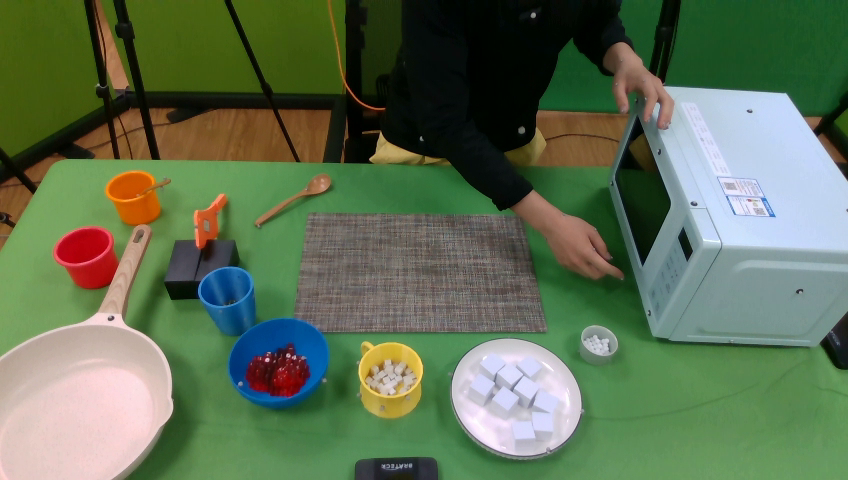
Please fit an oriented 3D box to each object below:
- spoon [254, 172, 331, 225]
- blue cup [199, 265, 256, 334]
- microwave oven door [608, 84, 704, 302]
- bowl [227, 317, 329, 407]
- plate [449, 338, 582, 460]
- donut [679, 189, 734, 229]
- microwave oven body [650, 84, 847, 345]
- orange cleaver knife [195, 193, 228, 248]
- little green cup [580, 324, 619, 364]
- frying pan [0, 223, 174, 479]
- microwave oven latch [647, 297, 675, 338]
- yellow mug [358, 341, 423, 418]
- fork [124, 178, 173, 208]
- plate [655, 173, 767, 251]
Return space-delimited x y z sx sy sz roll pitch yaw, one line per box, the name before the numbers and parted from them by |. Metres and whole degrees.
spoon | -0.272 -0.087 1.257 0.041 0.022 0.193 45 57 13
blue cup | -0.322 0.106 1.014 0.093 0.101 0.092 2 48 -2
microwave oven door | 0.424 -0.096 1.138 0.039 0.245 0.353 2 47 -1
bowl | -0.222 0.203 0.947 0.151 0.077 0.150 2 46 -2
plate | 0.141 0.251 0.955 0.208 0.039 0.206 2 46 -2
donut | 0.546 -0.062 1.175 0.099 0.048 0.098 0 44 1
microwave oven body | 0.568 -0.054 1.116 0.326 0.261 0.439 2 46 -1
orange cleaver knife | -0.406 -0.042 1.163 0.012 0.077 0.210 -1 18 -3
little green cup | 0.296 0.179 1.032 0.061 0.039 0.061 2 44 -2
frying pan | -0.505 0.169 0.941 0.307 0.103 0.485 5 54 -1
microwave oven latch | 0.413 0.133 1.060 0.030 0.029 0.078 5 46 2
yellow mug | -0.063 0.210 0.961 0.100 0.064 0.130 -29 54 -28
fork | -0.525 -0.090 1.154 0.207 0.019 0.028 -17 27 45
plate | 0.556 -0.052 1.187 0.209 0.038 0.208 2 46 -2
